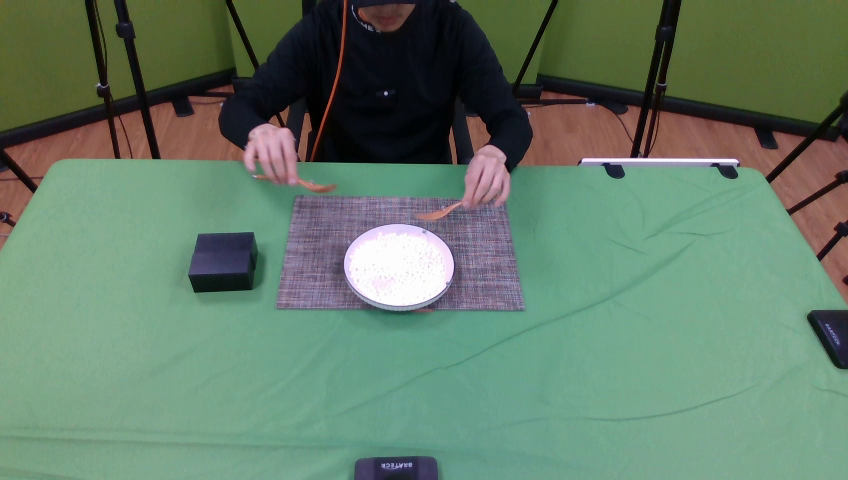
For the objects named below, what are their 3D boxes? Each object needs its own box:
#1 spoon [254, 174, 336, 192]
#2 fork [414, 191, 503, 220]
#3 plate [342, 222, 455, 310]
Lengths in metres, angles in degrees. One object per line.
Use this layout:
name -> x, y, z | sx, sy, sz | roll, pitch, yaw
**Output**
spoon -> -0.235, -0.107, 1.083 | 0.193, 0.021, 0.042 | 14, 16, 32
fork -> 0.069, -0.065, 1.107 | 0.207, 0.019, 0.028 | -20, 33, -33
plate -> -0.047, 0.052, 1.127 | 0.209, 0.038, 0.208 | 2, 46, -2
